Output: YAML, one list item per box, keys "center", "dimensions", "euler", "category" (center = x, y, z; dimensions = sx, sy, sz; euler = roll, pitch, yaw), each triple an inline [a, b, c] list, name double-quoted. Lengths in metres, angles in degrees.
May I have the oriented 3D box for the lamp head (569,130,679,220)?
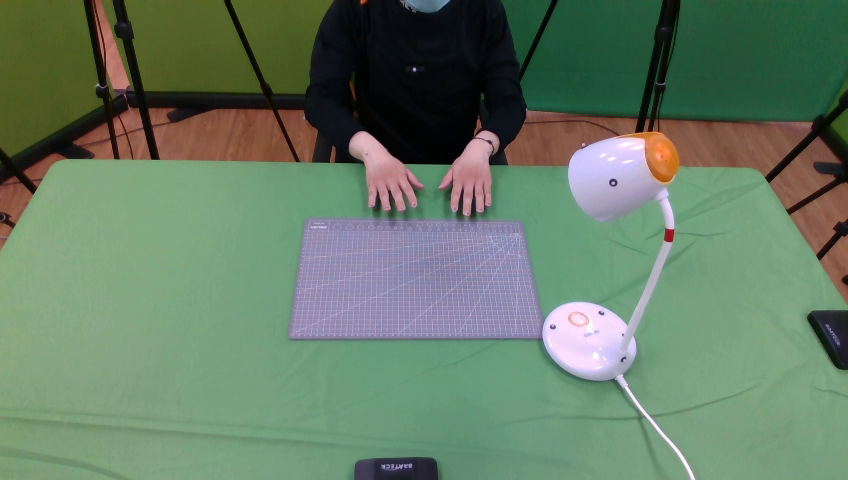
- center: [0.272, -0.090, 0.798]
  dimensions: [0.113, 0.122, 0.112]
  euler: [7, 78, -33]
  category: "lamp head"

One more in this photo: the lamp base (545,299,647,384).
- center: [0.299, 0.124, 0.984]
  dimensions: [0.161, 0.181, 0.178]
  euler: [-23, 55, -23]
  category: "lamp base"
